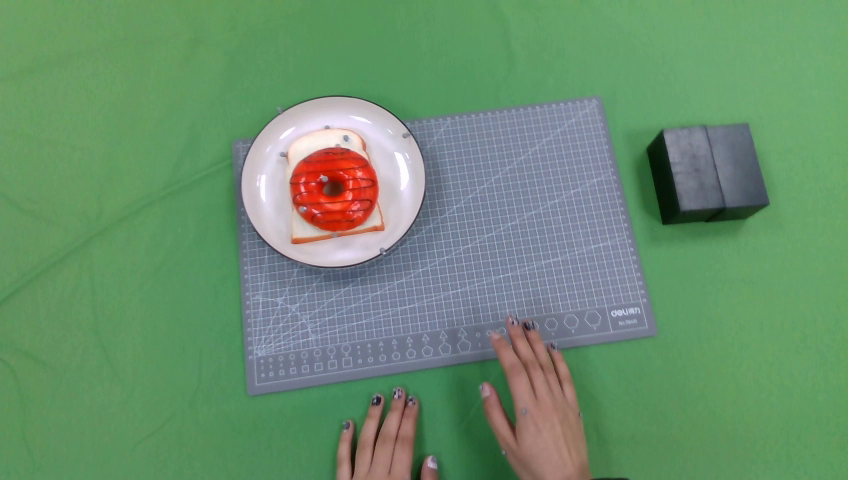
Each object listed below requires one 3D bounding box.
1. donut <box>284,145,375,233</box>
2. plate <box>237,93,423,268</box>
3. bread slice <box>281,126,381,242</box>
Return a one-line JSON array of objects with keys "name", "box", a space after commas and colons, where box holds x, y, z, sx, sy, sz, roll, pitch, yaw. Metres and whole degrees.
[{"name": "donut", "box": [-0.102, -0.055, 0.660, 0.099, 0.048, 0.098, 1, 77, -4]}, {"name": "plate", "box": [-0.105, -0.066, 0.691, 0.209, 0.038, 0.208, 0, 75, -1]}, {"name": "bread slice", "box": [-0.113, -0.068, 0.693, 0.105, 0.019, 0.131, -11, 76, -5]}]
